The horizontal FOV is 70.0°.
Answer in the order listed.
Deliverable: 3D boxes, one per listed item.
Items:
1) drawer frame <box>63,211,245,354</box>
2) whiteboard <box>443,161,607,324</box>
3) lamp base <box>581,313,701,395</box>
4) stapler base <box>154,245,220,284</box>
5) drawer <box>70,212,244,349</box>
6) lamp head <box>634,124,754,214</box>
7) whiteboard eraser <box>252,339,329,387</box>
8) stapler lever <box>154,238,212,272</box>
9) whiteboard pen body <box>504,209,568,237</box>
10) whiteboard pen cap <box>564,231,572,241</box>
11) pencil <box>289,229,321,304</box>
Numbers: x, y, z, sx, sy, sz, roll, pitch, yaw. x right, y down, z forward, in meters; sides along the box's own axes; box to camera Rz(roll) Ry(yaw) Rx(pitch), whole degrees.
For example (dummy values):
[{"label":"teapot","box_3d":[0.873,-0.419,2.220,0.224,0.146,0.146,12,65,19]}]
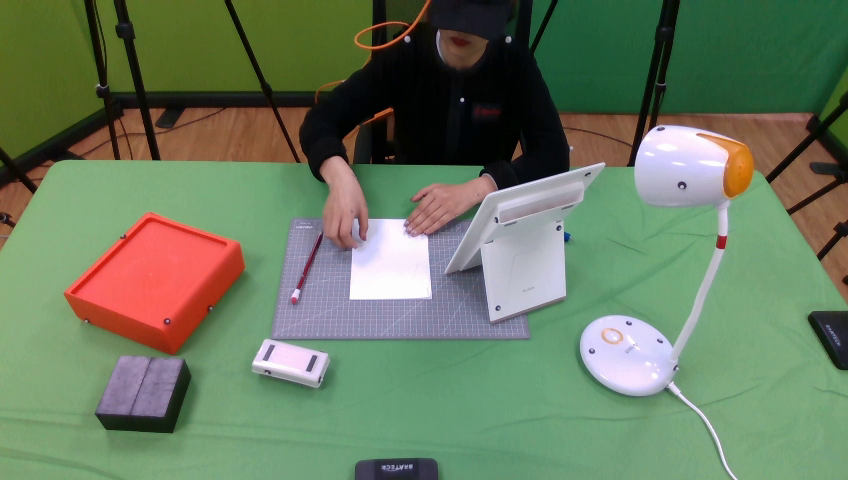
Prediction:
[{"label":"drawer frame","box_3d":[-0.459,0.067,1.056,0.201,0.083,0.212,17,48,11]},{"label":"whiteboard","box_3d":[0.185,0.026,1.028,0.217,0.306,0.143,-15,68,-18]},{"label":"lamp base","box_3d":[0.361,0.144,0.973,0.178,0.181,0.160,34,53,23]},{"label":"stapler base","box_3d":[-0.434,0.038,1.107,0.130,0.024,0.041,21,45,17]},{"label":"drawer","box_3d":[-0.458,0.065,1.060,0.194,0.073,0.211,18,48,12]},{"label":"lamp head","box_3d":[0.351,-0.089,0.776,0.112,0.113,0.122,-30,30,-28]},{"label":"whiteboard eraser","box_3d":[-0.215,0.199,0.976,0.112,0.042,0.055,12,45,7]},{"label":"stapler lever","box_3d":[-0.434,0.022,1.091,0.118,0.040,0.027,23,46,15]},{"label":"whiteboard pen body","box_3d":[0.230,-0.034,1.248,0.140,0.017,0.017,22,49,16]},{"label":"whiteboard pen cap","box_3d":[0.282,-0.012,1.230,0.033,0.018,0.018,24,49,15]},{"label":"pencil","box_3d":[-0.221,0.045,1.141,0.012,0.012,0.193,8,45,4]}]
